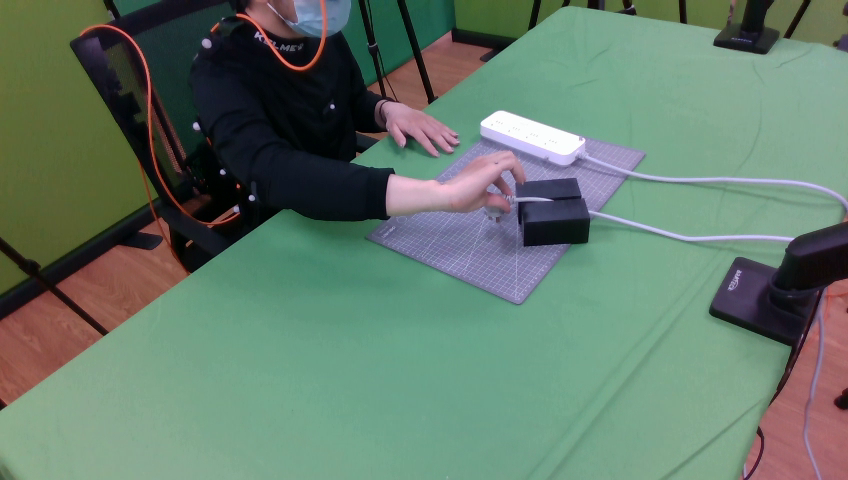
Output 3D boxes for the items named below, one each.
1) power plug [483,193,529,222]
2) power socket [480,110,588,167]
[{"bbox_3d":[0.128,-0.047,0.966,0.072,0.053,0.035,19,49,28],"label":"power plug"},{"bbox_3d":[0.204,-0.197,1.157,0.225,0.033,0.072,29,53,34],"label":"power socket"}]
